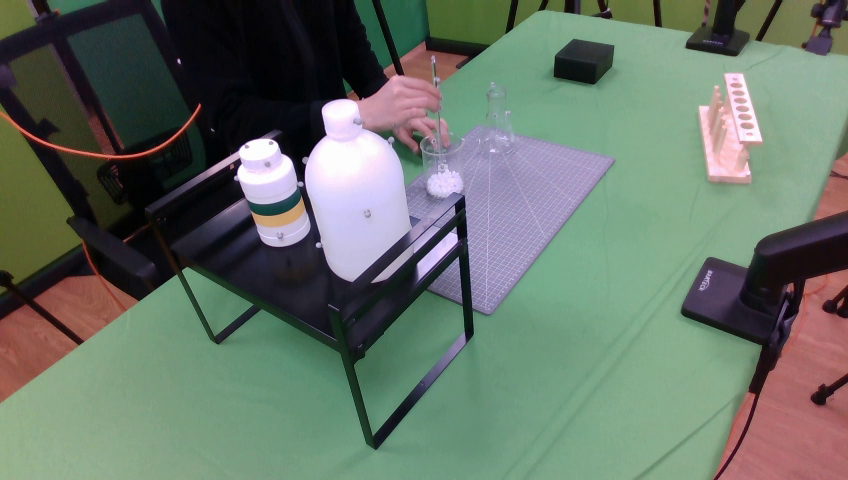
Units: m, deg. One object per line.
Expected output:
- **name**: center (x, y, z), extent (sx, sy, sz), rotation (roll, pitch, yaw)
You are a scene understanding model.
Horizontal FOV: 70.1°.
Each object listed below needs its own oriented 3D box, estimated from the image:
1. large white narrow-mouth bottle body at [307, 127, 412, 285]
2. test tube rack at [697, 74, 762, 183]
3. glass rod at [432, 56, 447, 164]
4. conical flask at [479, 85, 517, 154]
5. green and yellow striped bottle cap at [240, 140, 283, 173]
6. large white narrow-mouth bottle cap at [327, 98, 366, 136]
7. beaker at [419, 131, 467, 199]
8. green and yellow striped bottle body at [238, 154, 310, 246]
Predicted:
- **large white narrow-mouth bottle body**: center (-0.070, -0.051, 0.638), extent (0.102, 0.195, 0.101), rotation (-3, 40, 3)
- **test tube rack**: center (0.547, -0.208, 1.094), extent (0.066, 0.085, 0.242), rotation (5, 42, 15)
- **glass rod**: center (0.027, -0.204, 0.975), extent (0.008, 0.200, 0.008), rotation (-4, 44, 5)
- **conical flask**: center (0.139, -0.231, 1.145), extent (0.075, 0.122, 0.075), rotation (-4, 41, 4)
- **green and yellow striped bottle cap**: center (-0.183, -0.094, 0.679), extent (0.045, 0.020, 0.045), rotation (-4, 38, 4)
- **large white narrow-mouth bottle cap**: center (-0.075, -0.119, 0.581), extent (0.038, 0.024, 0.037), rotation (-3, 40, 3)
- **beaker**: center (0.037, -0.130, 1.060), extent (0.084, 0.100, 0.073), rotation (-14, 41, -9)
- **green and yellow striped bottle body**: center (-0.178, -0.056, 0.714), extent (0.063, 0.120, 0.063), rotation (-4, 40, 4)
